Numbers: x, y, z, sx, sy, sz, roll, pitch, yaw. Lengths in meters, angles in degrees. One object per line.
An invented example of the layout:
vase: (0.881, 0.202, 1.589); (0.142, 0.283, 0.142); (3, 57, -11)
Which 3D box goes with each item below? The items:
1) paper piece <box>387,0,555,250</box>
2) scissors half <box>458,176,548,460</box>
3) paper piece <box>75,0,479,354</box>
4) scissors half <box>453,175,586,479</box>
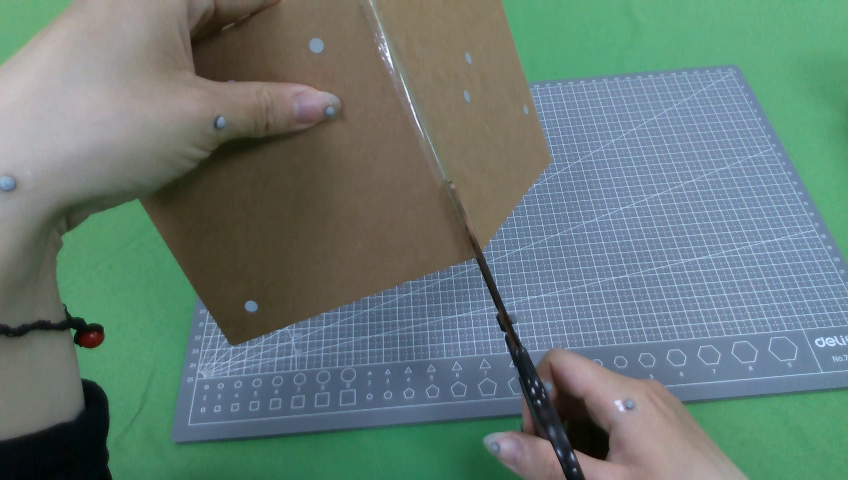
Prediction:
paper piece: (0.032, -0.083, 0.314); (0.004, 0.136, 0.135); (-12, 20, 32)
scissors half: (0.045, 0.046, 0.306); (0.013, 0.177, 0.039); (-20, 27, 3)
paper piece: (-0.064, -0.025, 0.277); (0.138, 0.137, 0.008); (-23, 16, 9)
scissors half: (0.046, 0.051, 0.283); (0.013, 0.040, 0.175); (-21, 87, -2)
